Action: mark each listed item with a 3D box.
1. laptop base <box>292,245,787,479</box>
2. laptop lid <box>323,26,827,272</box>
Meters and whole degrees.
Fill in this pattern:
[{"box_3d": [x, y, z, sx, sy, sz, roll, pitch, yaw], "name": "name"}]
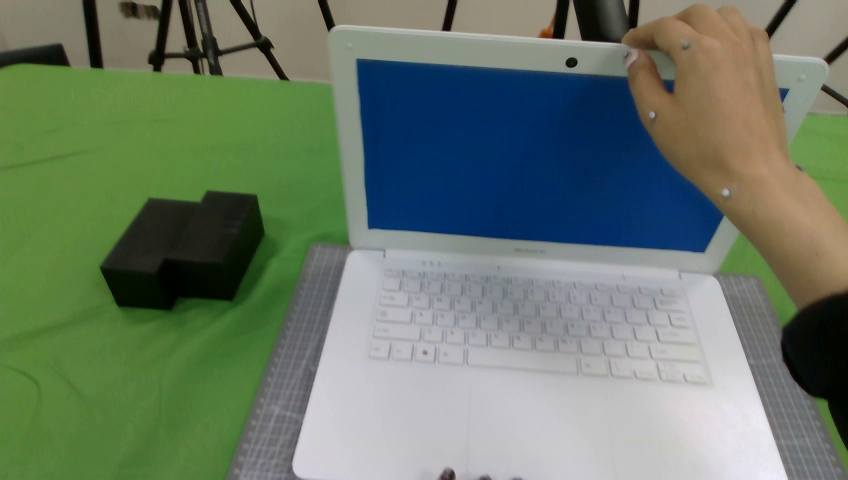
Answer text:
[{"box_3d": [0.090, 0.103, 0.505, 0.354, 0.023, 0.233, 4, 45, 2], "name": "laptop base"}, {"box_3d": [0.101, -0.059, 0.504, 0.356, 0.244, 0.013, 3, 49, 4], "name": "laptop lid"}]
